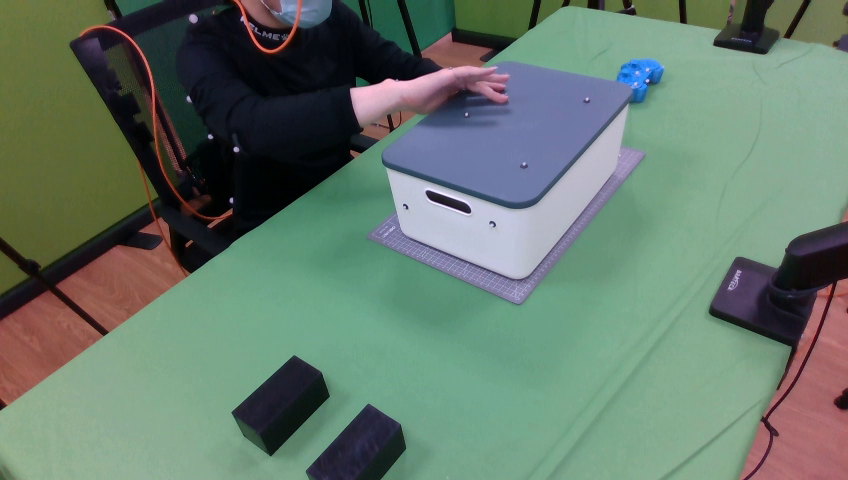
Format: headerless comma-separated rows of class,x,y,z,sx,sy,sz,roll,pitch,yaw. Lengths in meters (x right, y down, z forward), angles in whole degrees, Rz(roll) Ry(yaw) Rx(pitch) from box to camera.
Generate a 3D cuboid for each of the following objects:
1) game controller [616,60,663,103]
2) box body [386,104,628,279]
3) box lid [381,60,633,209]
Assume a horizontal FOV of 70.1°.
game controller,0.442,-0.344,1.288,0.096,0.052,0.155,25,50,27
box body,0.142,-0.125,0.982,0.252,0.161,0.365,22,48,29
box lid,0.137,-0.182,0.935,0.261,0.015,0.372,22,48,29
